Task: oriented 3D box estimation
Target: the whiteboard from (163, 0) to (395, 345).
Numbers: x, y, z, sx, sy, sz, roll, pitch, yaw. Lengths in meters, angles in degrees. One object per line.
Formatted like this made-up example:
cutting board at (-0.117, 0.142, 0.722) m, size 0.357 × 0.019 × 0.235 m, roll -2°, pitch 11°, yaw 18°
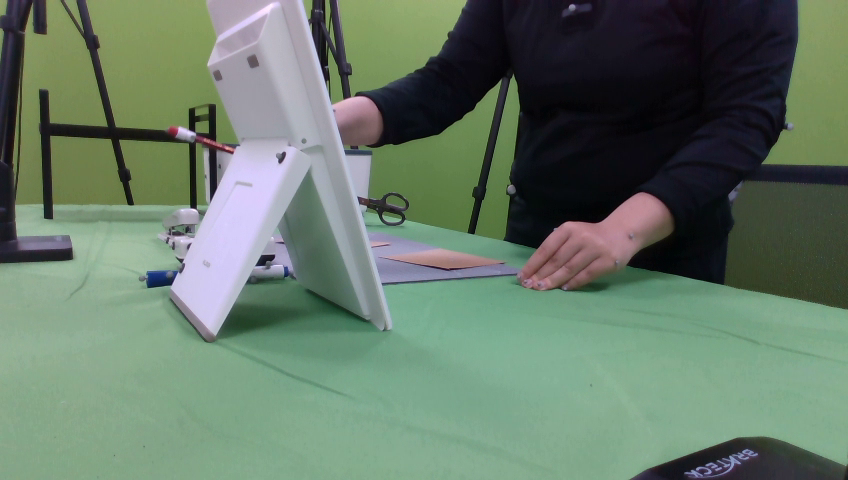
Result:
whiteboard at (-0.173, -0.053, 0.511) m, size 0.144 × 0.305 × 0.216 m, roll -23°, pitch 19°, yaw -26°

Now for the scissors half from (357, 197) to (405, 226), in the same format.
scissors half at (-0.127, -0.071, 1.322) m, size 0.175 × 0.040 × 0.013 m, roll 22°, pitch 5°, yaw -5°

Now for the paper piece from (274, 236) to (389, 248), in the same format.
paper piece at (-0.151, 0.003, 0.978) m, size 0.135 × 0.008 × 0.139 m, roll 13°, pitch 10°, yaw 35°

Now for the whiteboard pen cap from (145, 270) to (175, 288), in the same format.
whiteboard pen cap at (-0.271, 0.039, 0.627) m, size 0.033 × 0.018 × 0.018 m, roll -4°, pitch 10°, yaw -33°

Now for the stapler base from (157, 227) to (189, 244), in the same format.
stapler base at (-0.376, -0.008, 0.934) m, size 0.041 × 0.024 × 0.130 m, roll 0°, pitch 5°, yaw -38°

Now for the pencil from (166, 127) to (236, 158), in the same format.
pencil at (-0.213, -0.097, 0.736) m, size 0.195 × 0.012 × 0.012 m, roll 19°, pitch -3°, yaw -35°

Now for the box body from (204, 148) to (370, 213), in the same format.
box body at (-0.346, -0.152, 1.519) m, size 0.366 × 0.160 × 0.253 m, roll -1°, pitch 9°, yaw -31°

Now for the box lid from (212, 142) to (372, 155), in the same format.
box lid at (-0.344, -0.225, 1.509) m, size 0.373 × 0.015 × 0.262 m, roll -2°, pitch 8°, yaw -31°

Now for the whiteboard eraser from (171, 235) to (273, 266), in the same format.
whiteboard eraser at (-0.248, 0.014, 0.747) m, size 0.113 × 0.042 × 0.055 m, roll -1°, pitch 10°, yaw -32°

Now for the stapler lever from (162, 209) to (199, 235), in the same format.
stapler lever at (-0.377, -0.032, 0.933) m, size 0.027 × 0.040 × 0.117 m, roll 0°, pitch 7°, yaw -38°

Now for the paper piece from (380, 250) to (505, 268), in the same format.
paper piece at (0.025, 0.026, 0.865) m, size 0.134 × 0.004 × 0.136 m, roll 8°, pitch 8°, yaw 43°

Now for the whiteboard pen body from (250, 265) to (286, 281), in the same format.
whiteboard pen body at (-0.220, 0.039, 0.656) m, size 0.141 × 0.017 × 0.017 m, roll -2°, pitch 9°, yaw -30°

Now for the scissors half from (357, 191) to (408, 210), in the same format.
scissors half at (-0.122, -0.091, 1.319) m, size 0.175 × 0.040 × 0.013 m, roll 5°, pitch 11°, yaw -3°
